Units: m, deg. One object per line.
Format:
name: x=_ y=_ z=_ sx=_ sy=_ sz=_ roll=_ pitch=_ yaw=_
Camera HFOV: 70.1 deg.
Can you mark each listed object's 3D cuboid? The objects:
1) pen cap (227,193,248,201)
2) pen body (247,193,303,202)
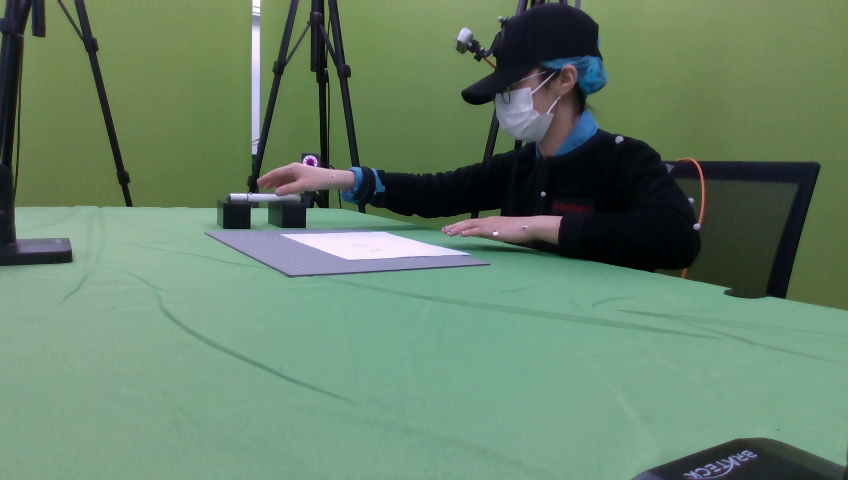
pen cap: x=-0.373 y=-0.086 z=1.209 sx=0.039 sy=0.017 sz=0.017 roll=-1 pitch=8 yaw=-34
pen body: x=-0.320 y=-0.087 z=1.244 sx=0.145 sy=0.017 sz=0.017 roll=-2 pitch=9 yaw=-33
